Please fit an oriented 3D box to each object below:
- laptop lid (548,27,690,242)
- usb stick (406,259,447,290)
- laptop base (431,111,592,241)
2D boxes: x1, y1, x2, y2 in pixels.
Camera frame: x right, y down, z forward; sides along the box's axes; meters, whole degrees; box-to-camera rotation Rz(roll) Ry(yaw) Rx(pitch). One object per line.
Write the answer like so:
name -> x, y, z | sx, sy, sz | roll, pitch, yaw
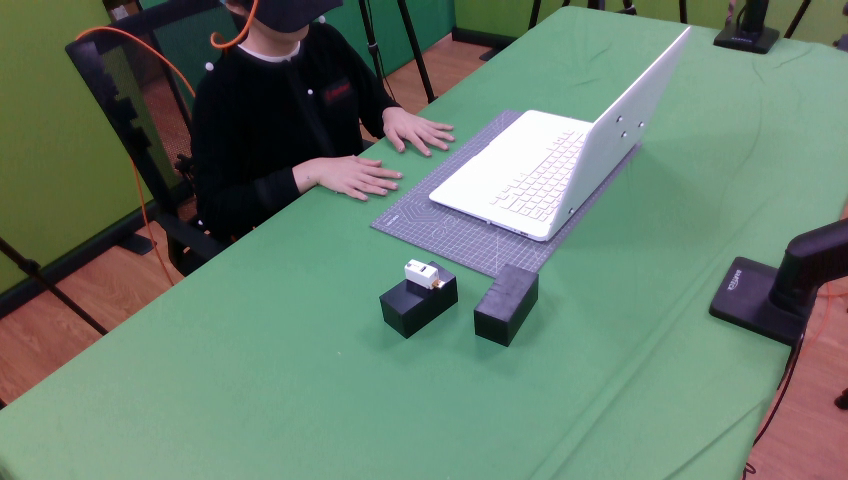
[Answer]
laptop lid -> 0.309, -0.168, 0.949 | 0.013, 0.242, 0.358 | 33, 52, 20
usb stick -> 0.005, 0.050, 0.836 | 0.059, 0.027, 0.021 | 24, 48, 29
laptop base -> 0.206, -0.130, 1.100 | 0.233, 0.023, 0.355 | 20, 47, 34
